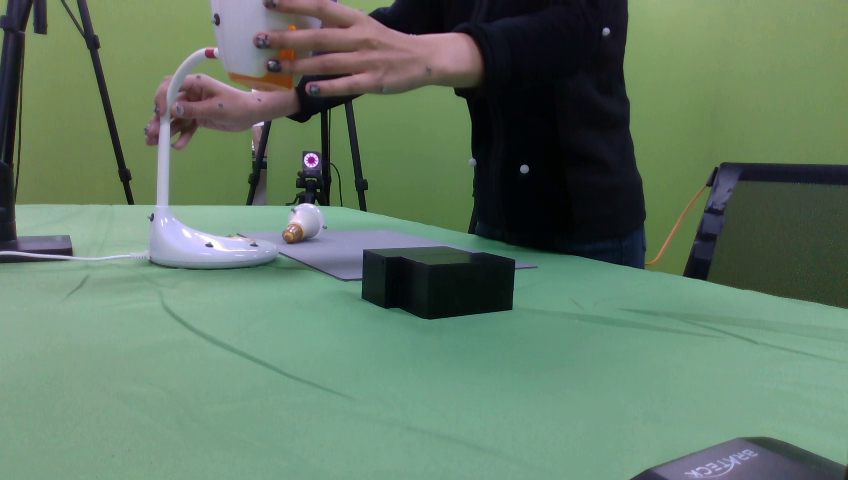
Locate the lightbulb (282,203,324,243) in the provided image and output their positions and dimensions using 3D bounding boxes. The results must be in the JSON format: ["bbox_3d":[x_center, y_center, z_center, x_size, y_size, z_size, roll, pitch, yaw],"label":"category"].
[{"bbox_3d":[-0.203,-0.023,0.992,0.059,0.059,0.108,3,23,12],"label":"lightbulb"}]

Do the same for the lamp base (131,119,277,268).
[{"bbox_3d":[-0.280,-0.061,0.771,0.160,0.180,0.180,9,13,42],"label":"lamp base"}]

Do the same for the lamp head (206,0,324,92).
[{"bbox_3d":[-0.156,-0.205,0.578,0.112,0.123,0.112,11,11,-2],"label":"lamp head"}]
